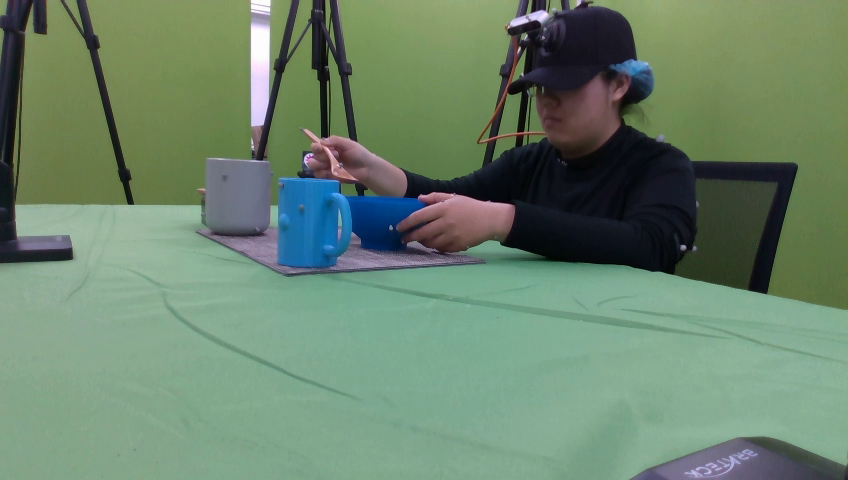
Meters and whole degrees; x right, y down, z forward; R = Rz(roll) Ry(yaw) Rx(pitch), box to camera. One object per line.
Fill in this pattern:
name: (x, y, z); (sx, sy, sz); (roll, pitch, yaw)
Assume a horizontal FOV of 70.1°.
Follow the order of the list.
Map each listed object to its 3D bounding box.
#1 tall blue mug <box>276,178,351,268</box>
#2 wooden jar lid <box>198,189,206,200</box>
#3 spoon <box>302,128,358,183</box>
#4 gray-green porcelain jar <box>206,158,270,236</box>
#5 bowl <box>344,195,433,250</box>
tall blue mug: (-0.134, -0.022, 0.766); (0.107, 0.108, 0.078); (4, 6, 12)
wooden jar lid: (-0.382, -0.088, 1.175); (0.108, 0.020, 0.108); (3, 8, 0)
spoon: (-0.165, -0.146, 1.027); (0.042, 0.021, 0.193); (4, 35, -40)
gray-green porcelain jar: (-0.316, -0.074, 1.031); (0.106, 0.126, 0.106); (3, 7, 0)
bowl: (-0.062, -0.027, 0.955); (0.151, 0.077, 0.151); (3, 7, 0)
